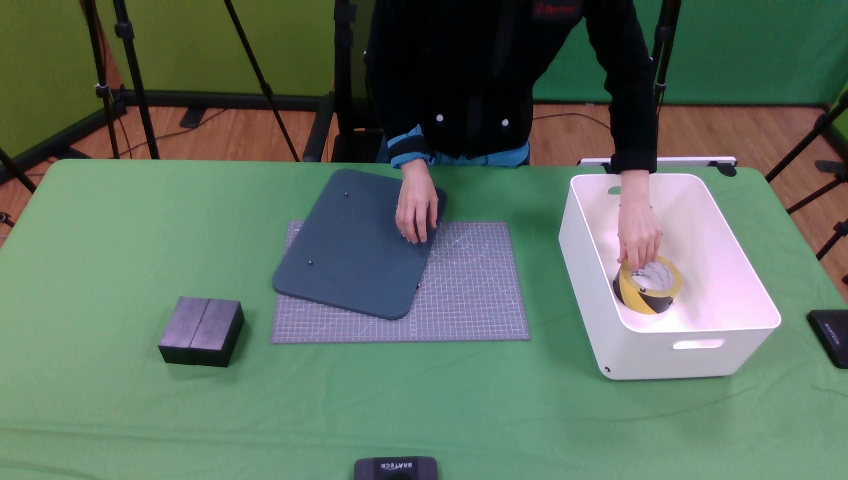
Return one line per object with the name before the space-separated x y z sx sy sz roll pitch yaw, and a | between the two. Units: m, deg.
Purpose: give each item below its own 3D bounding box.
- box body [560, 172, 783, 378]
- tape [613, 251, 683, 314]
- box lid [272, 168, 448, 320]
box body | 0.405 0.057 1.074 0.254 0.161 0.361 -2 46 -5
tape | 0.413 0.077 1.123 0.117 0.053 0.116 2 45 -2
box lid | -0.115 -0.007 1.200 0.263 0.015 0.369 12 46 8
